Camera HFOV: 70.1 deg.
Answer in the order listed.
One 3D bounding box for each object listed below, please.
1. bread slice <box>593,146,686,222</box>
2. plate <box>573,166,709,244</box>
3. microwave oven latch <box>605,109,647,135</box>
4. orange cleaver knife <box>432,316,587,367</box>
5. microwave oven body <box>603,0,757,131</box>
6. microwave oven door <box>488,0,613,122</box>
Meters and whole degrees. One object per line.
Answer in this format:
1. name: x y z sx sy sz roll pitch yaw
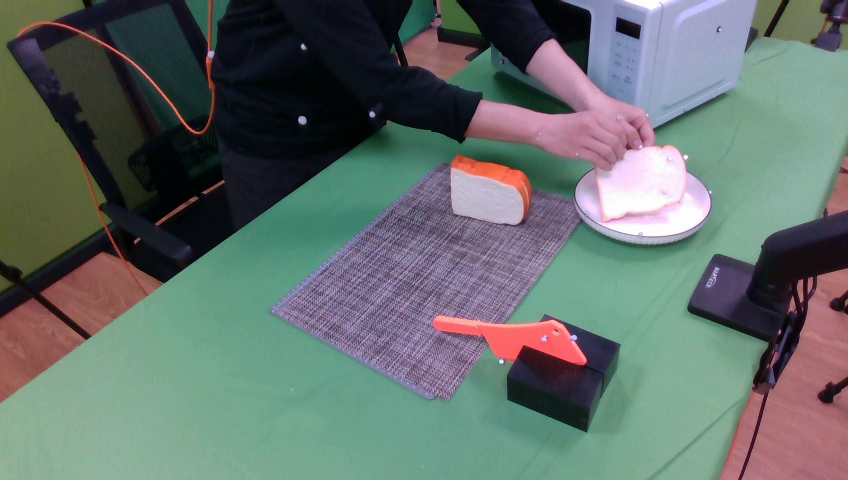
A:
1. bread slice: 0.338 -0.094 0.947 0.134 0.107 0.018 -13 10 14
2. plate: 0.347 -0.059 0.978 0.207 0.039 0.206 -4 41 4
3. microwave oven latch: 0.378 -0.225 1.139 0.030 0.029 0.078 -26 43 -19
4. orange cleaver knife: 0.101 0.127 0.761 0.210 0.077 0.012 -1 34 40
5. microwave oven body: 0.396 -0.448 1.248 0.327 0.261 0.437 -27 44 -21
6. microwave oven door: 0.251 -0.412 1.219 0.039 0.245 0.352 -27 44 -21
